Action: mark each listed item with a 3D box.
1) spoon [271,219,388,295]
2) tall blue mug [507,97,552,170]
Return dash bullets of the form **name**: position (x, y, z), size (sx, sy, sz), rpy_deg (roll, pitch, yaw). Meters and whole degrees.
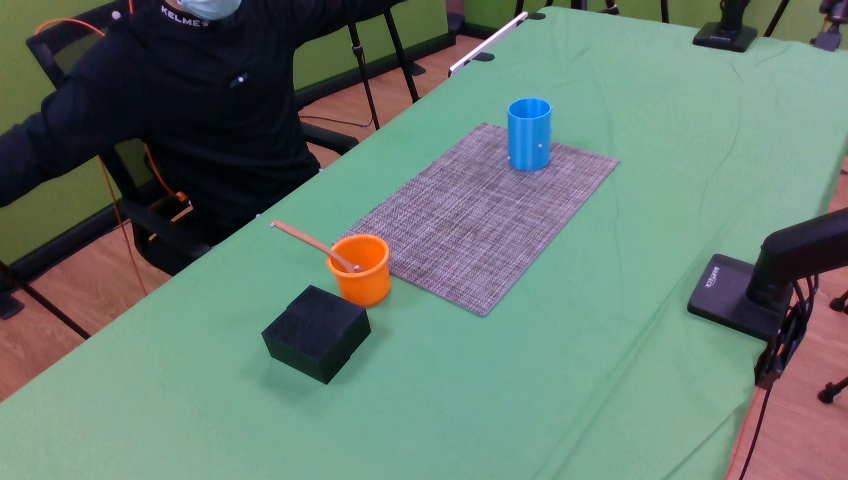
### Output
- **spoon**: position (-0.133, 0.022, 0.865), size (0.021, 0.195, 0.041), rpy_deg (-35, 27, 40)
- **tall blue mug**: position (0.179, -0.198, 1.101), size (0.078, 0.108, 0.106), rpy_deg (-36, 49, -28)
